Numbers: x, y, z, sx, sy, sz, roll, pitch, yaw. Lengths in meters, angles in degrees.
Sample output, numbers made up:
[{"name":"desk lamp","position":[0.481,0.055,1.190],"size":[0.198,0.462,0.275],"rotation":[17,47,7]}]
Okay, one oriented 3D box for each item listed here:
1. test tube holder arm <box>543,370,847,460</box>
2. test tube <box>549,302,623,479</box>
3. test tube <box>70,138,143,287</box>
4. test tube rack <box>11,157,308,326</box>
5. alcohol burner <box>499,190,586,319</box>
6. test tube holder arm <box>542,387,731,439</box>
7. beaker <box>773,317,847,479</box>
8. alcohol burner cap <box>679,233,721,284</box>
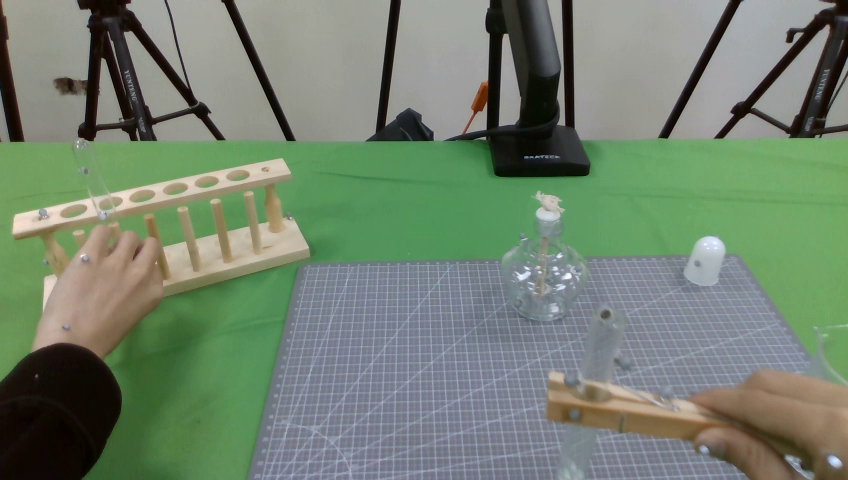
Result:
[{"name":"test tube holder arm","position":[0.148,0.088,0.296],"size":[0.178,0.015,0.013],"rotation":[9,35,10]},{"name":"test tube","position":[0.079,0.099,0.314],"size":[0.017,0.151,0.017],"rotation":[4,27,-2]},{"name":"test tube","position":[-0.276,-0.020,0.530],"size":[0.017,0.152,0.017],"rotation":[-1,36,1]},{"name":"test tube rack","position":[-0.243,-0.004,0.583],"size":[0.243,0.086,0.066],"rotation":[-16,39,-20]},{"name":"alcohol burner","position":[0.105,0.010,0.533],"size":[0.078,0.120,0.077],"rotation":[-1,35,1]},{"name":"test tube holder arm","position":[0.103,0.085,0.298],"size":[0.088,0.015,0.010],"rotation":[6,34,5]},{"name":"beaker","position":[0.283,0.112,0.407],"size":[0.074,0.101,0.083],"rotation":[-19,40,-23]},{"name":"alcohol burner cap","position":[0.268,0.015,0.585],"size":[0.034,0.048,0.033],"rotation":[0,37,0]}]
